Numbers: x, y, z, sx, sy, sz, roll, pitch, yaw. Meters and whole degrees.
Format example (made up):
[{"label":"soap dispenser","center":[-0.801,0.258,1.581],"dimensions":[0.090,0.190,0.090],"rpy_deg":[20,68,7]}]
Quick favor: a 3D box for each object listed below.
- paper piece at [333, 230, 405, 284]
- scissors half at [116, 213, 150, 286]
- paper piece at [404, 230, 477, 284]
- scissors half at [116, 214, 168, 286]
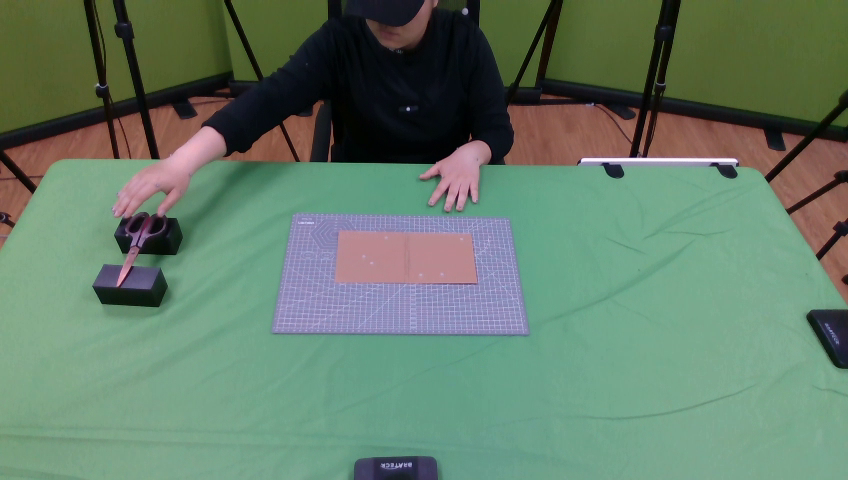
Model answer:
[{"label":"paper piece","center":[-0.104,0.031,1.165],"dimensions":[0.135,0.004,0.135],"rpy_deg":[2,47,-4]},{"label":"scissors half","center":[-0.524,0.014,1.081],"dimensions":[0.040,0.013,0.174],"rpy_deg":[-2,46,-8]},{"label":"paper piece","center":[0.030,0.033,1.174],"dimensions":[0.138,0.009,0.135],"rpy_deg":[2,49,-3]},{"label":"scissors half","center":[-0.503,0.015,1.081],"dimensions":[0.040,0.013,0.174],"rpy_deg":[7,47,8]}]
